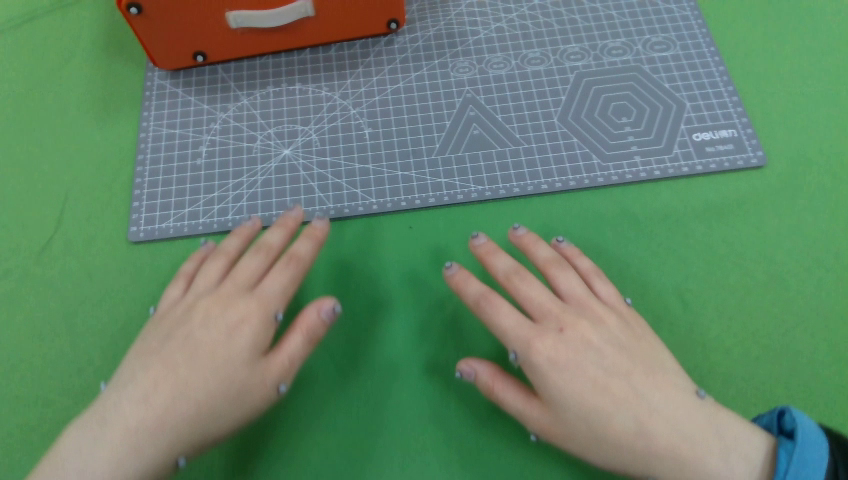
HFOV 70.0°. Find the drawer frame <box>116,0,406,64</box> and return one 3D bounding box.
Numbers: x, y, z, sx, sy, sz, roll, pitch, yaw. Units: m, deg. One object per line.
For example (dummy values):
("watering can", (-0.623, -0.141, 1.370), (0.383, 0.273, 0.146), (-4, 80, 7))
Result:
("drawer frame", (-0.132, -0.259, 0.491), (0.202, 0.083, 0.211), (-12, 64, -4))

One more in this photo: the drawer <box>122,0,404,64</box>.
("drawer", (-0.131, -0.256, 0.490), (0.194, 0.074, 0.210), (-11, 64, -3))

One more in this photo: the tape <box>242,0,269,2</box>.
("tape", (-0.134, -0.257, 0.499), (0.117, 0.053, 0.116), (0, 65, 1))
